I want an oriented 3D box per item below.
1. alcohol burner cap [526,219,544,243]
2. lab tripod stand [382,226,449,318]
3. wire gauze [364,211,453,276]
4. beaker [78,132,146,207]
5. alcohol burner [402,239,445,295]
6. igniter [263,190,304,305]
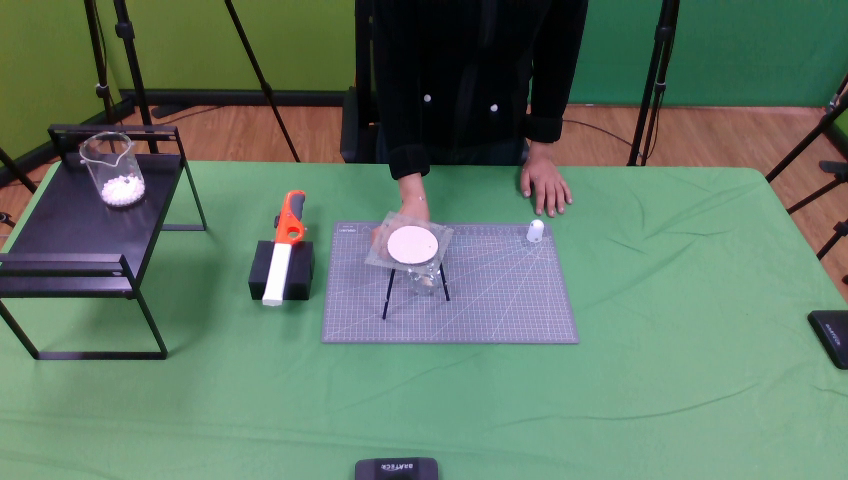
[{"bbox_3d":[0.225,-0.021,1.218,0.034,0.048,0.033,1,46,-1],"label":"alcohol burner cap"},{"bbox_3d":[-0.024,0.055,1.063,0.148,0.132,0.147,2,48,-2],"label":"lab tripod stand"},{"bbox_3d":[-0.024,0.006,1.016,0.121,0.011,0.124,14,48,9],"label":"wire gauze"},{"bbox_3d":[-0.488,-0.108,0.961,0.074,0.101,0.083,-25,54,-25],"label":"beaker"},{"bbox_3d":[0.000,0.042,1.091,0.078,0.119,0.077,3,45,-3],"label":"alcohol burner"},{"bbox_3d":[-0.255,0.004,1.107,0.057,0.025,0.274,5,46,-7],"label":"igniter"}]
